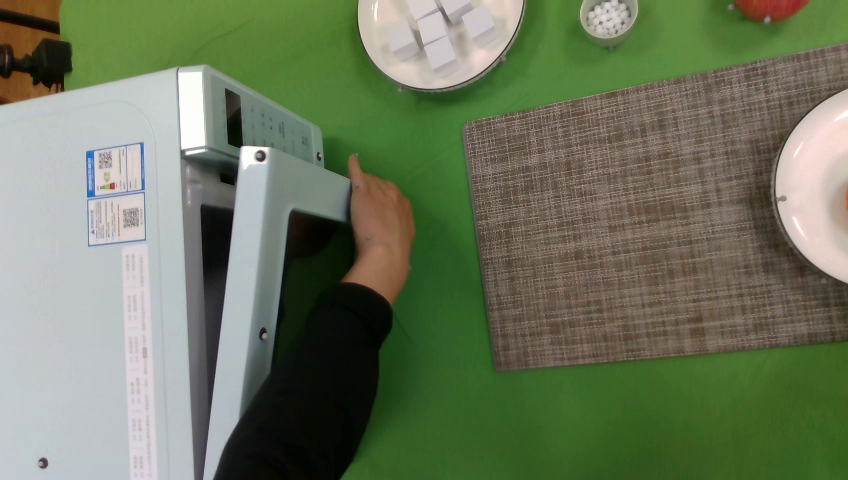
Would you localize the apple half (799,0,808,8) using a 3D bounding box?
[{"bbox_3d":[0.381,-0.276,0.610,0.033,0.081,0.081,-18,82,20],"label":"apple half"}]

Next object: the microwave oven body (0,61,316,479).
[{"bbox_3d":[-0.299,0.072,0.693,0.325,0.261,0.440,-6,86,16],"label":"microwave oven body"}]

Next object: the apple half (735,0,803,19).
[{"bbox_3d":[0.346,-0.264,0.621,0.053,0.075,0.080,-18,86,19],"label":"apple half"}]

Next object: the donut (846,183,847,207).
[{"bbox_3d":[0.460,-0.043,0.578,0.099,0.048,0.099,-1,88,18],"label":"donut"}]

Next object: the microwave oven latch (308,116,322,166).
[{"bbox_3d":[-0.144,-0.112,0.757,0.030,0.029,0.079,-3,87,16],"label":"microwave oven latch"}]

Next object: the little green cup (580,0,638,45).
[{"bbox_3d":[0.207,-0.251,0.679,0.061,0.039,0.061,-1,86,17],"label":"little green cup"}]

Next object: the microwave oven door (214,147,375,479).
[{"bbox_3d":[-0.127,0.100,0.636,0.039,0.245,0.355,5,88,17],"label":"microwave oven door"}]

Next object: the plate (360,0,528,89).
[{"bbox_3d":[0.024,-0.282,0.735,0.207,0.039,0.207,-1,87,17],"label":"plate"}]

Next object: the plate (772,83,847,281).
[{"bbox_3d":[0.453,-0.056,0.592,0.208,0.038,0.208,-1,87,17],"label":"plate"}]
